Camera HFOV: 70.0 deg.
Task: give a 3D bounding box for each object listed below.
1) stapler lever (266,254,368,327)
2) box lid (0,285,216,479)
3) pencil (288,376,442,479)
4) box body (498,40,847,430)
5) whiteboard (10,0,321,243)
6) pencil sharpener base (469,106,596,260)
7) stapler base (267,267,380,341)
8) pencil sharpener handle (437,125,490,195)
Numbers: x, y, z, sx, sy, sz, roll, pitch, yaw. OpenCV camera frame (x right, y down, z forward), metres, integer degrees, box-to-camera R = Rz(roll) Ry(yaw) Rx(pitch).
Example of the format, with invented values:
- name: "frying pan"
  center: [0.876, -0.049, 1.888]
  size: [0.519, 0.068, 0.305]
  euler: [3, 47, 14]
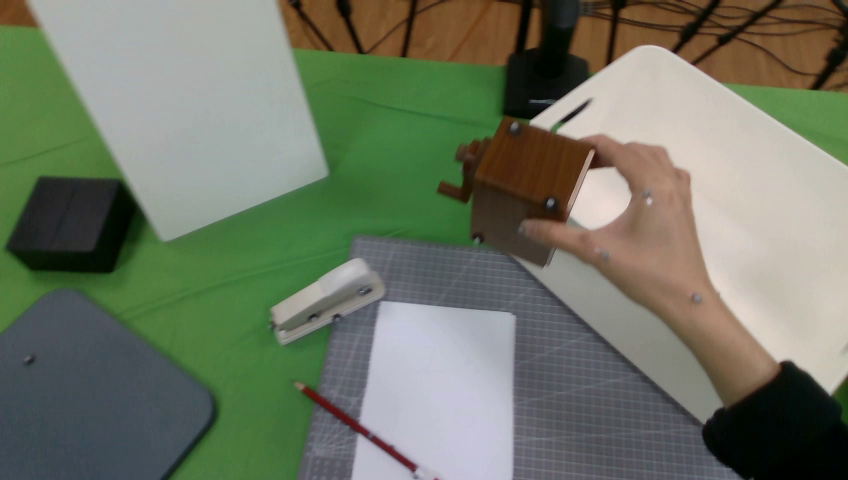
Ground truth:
- name: "stapler lever"
  center: [-0.117, 0.053, 0.660]
  size: [0.118, 0.040, 0.026]
  euler: [-26, 58, -12]
- name: "box lid"
  center: [-0.416, 0.235, 0.589]
  size: [0.262, 0.015, 0.370]
  euler: [29, 63, 16]
- name: "pencil"
  center: [-0.065, 0.189, 0.616]
  size: [0.193, 0.012, 0.012]
  euler: [29, 63, 18]
- name: "box body"
  center: [0.272, -0.012, 0.651]
  size: [0.254, 0.161, 0.361]
  euler: [-39, 67, -21]
- name: "whiteboard"
  center: [-0.281, -0.191, 0.706]
  size: [0.217, 0.308, 0.142]
  euler: [-25, 43, -14]
- name: "pencil sharpener base"
  center: [0.076, -0.041, 0.462]
  size: [0.076, 0.108, 0.061]
  euler: [23, 68, 12]
- name: "stapler base"
  center: [-0.114, 0.065, 0.682]
  size: [0.130, 0.024, 0.041]
  euler: [-26, 59, -11]
- name: "pencil sharpener handle"
  center: [0.027, -0.062, 0.458]
  size: [0.030, 0.068, 0.036]
  euler: [23, 54, 12]
